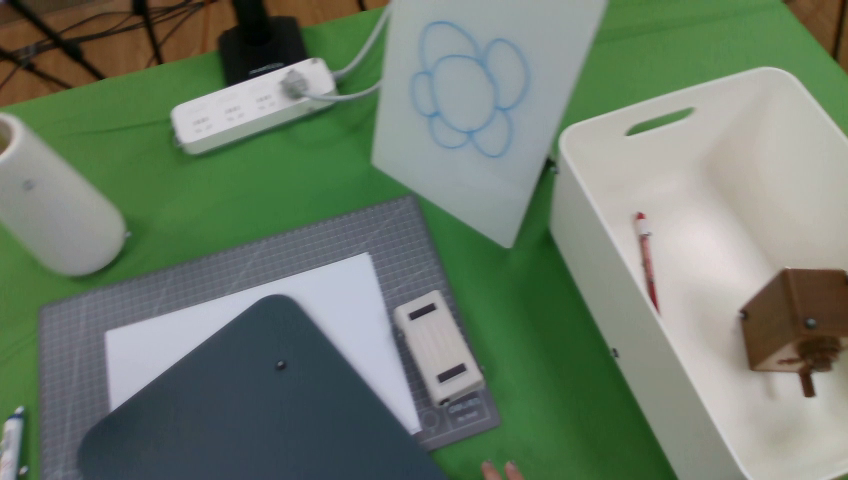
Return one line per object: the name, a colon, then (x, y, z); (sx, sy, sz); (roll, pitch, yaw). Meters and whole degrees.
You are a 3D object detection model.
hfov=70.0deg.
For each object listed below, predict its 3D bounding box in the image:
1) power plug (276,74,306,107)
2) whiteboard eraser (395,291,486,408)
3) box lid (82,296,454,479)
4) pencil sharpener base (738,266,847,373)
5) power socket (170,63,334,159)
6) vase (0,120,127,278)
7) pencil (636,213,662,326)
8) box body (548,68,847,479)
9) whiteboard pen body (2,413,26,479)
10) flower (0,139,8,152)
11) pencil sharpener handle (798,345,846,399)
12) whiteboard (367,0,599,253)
power plug: (-0.170, -0.183, 0.784); (0.035, 0.053, 0.072); (-14, 62, -4)
whiteboard eraser: (0.016, 0.112, 0.627); (0.055, 0.042, 0.111); (-22, 62, -12)
box lid: (-0.136, 0.244, 0.581); (0.263, 0.015, 0.368); (-39, 67, -18)
pencil sharpener base: (0.360, 0.082, 0.584); (0.061, 0.108, 0.076); (2, 61, 3)
power socket: (-0.228, -0.174, 0.809); (0.227, 0.033, 0.071); (-23, 63, -10)
vase: (-0.406, -0.038, 0.646); (0.098, 0.202, 0.097); (-2, 60, 4)
pencil: (0.250, 0.056, 0.663); (0.012, 0.012, 0.192); (-1, 63, 3)
box body: (0.302, 0.040, 0.586); (0.254, 0.162, 0.360); (-18, 61, -7)
whiteboard pen body: (-0.405, 0.238, 0.592); (0.017, 0.017, 0.139); (-14, 57, -4)
flower: (-0.410, -0.095, 0.584); (0.038, 0.365, 0.043); (-29, 45, -20)
pencil sharpener handle: (0.359, 0.120, 0.549); (0.036, 0.068, 0.030); (-4, 60, 14)
whiteboard: (0.076, -0.178, 0.674); (0.216, 0.308, 0.143); (33, 48, 20)
